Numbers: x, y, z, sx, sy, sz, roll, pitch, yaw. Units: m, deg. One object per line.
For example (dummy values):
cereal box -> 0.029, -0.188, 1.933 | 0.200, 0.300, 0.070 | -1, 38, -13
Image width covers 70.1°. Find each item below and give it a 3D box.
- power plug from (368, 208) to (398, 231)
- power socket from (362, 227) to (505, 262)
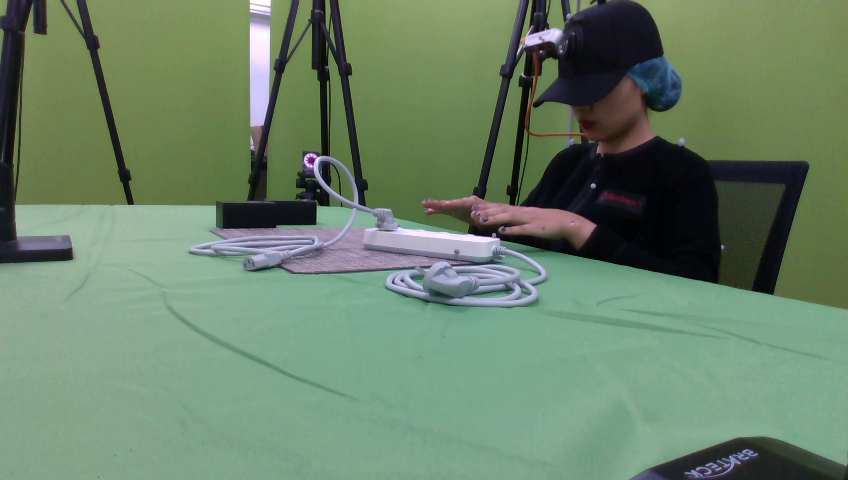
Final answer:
power plug -> -0.069, -0.023, 0.915 | 0.035, 0.052, 0.073 | 9, 9, 39
power socket -> 0.009, 0.004, 0.909 | 0.226, 0.032, 0.072 | 7, 9, 28
